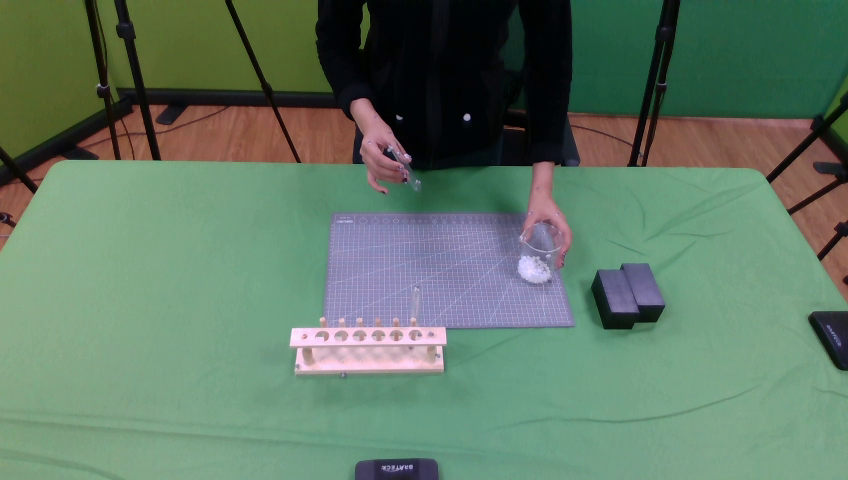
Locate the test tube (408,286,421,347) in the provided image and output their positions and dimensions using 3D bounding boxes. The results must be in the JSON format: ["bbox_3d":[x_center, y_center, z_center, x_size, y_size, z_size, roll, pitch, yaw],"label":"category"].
[{"bbox_3d":[-0.016,0.124,0.973,0.017,0.151,0.017,3,46,-2],"label":"test tube"}]

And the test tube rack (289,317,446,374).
[{"bbox_3d":[-0.089,0.167,0.987,0.242,0.085,0.066,0,46,-4],"label":"test tube rack"}]

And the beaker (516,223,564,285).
[{"bbox_3d":[0.211,0.029,1.131,0.084,0.101,0.073,-1,46,-4],"label":"beaker"}]

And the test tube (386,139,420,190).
[{"bbox_3d":[-0.035,-0.130,1.072,0.017,0.151,0.017,-8,62,15],"label":"test tube"}]
